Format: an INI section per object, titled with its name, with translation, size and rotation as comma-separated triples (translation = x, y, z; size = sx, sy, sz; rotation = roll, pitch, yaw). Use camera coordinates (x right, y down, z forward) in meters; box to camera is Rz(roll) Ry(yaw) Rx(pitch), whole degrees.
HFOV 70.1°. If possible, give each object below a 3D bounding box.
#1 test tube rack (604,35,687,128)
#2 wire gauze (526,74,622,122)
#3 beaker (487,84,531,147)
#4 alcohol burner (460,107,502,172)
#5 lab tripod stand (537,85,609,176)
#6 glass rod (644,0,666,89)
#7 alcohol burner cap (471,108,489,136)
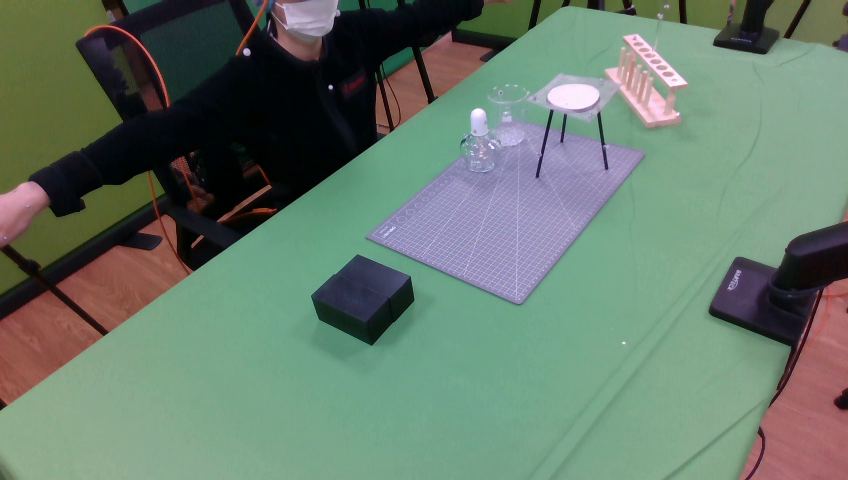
[test tube rack]
translation = 0.447, -0.330, 1.241
size = 0.067, 0.085, 0.241
rotation = -9, 41, -2
[wire gauze]
translation = 0.255, -0.248, 1.030
size = 0.124, 0.011, 0.122
rotation = 24, 51, 32
[beaker]
translation = 0.163, -0.237, 1.161
size = 0.084, 0.101, 0.073
rotation = -10, 41, -3
[alcohol burner]
translation = 0.102, -0.185, 1.098
size = 0.078, 0.119, 0.077
rotation = -6, 40, 5
[lab tripod stand]
translation = 0.259, -0.192, 1.068
size = 0.148, 0.132, 0.147
rotation = -4, 42, 4
[glass rod]
translation = 0.465, -0.397, 1.215
size = 0.008, 0.200, 0.008
rotation = 0, 39, 1
[alcohol burner cap]
translation = 0.098, -0.211, 1.074
size = 0.034, 0.048, 0.033
rotation = -6, 41, 6
